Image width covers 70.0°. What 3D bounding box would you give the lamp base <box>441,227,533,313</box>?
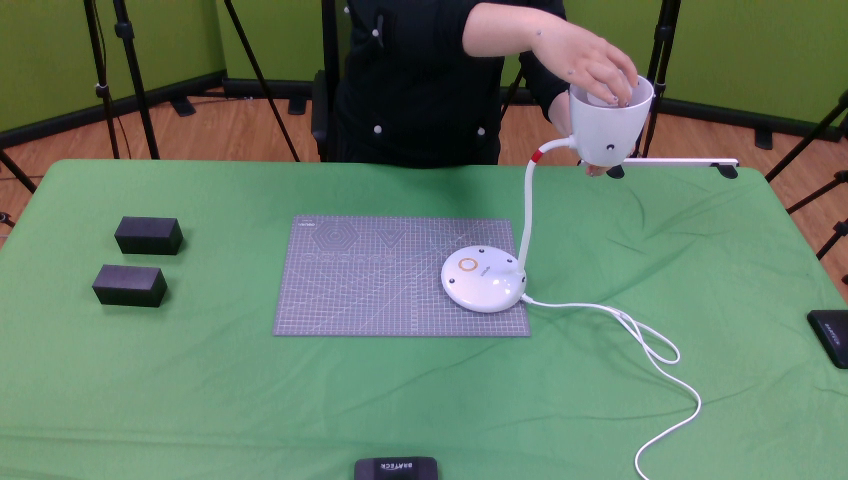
[{"bbox_3d":[0.126,0.021,1.072,0.179,0.181,0.160,22,49,13],"label":"lamp base"}]

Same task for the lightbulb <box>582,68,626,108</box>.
[{"bbox_3d":[0.249,-0.188,0.851,0.059,0.108,0.059,0,34,0],"label":"lightbulb"}]

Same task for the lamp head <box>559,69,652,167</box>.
[{"bbox_3d":[0.254,-0.165,0.863,0.112,0.123,0.111,1,42,-1],"label":"lamp head"}]
